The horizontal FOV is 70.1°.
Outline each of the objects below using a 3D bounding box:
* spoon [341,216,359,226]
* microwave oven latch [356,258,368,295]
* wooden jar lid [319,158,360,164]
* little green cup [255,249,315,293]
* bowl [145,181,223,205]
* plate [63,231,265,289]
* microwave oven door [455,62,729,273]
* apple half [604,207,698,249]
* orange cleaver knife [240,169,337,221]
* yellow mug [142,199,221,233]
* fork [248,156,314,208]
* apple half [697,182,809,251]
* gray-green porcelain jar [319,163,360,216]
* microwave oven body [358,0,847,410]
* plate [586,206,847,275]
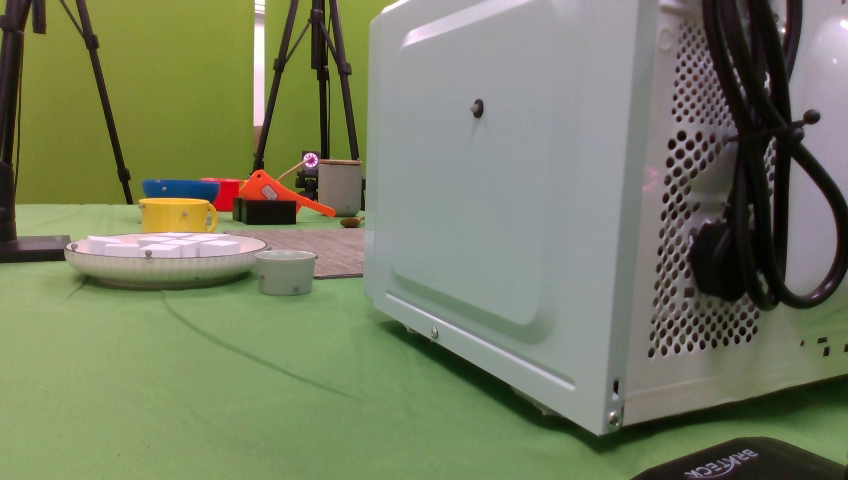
[{"bbox_3d":[-0.132,-0.048,1.305,0.041,0.021,0.194,-15,3,14],"label":"spoon"},{"bbox_3d":[-0.019,0.031,0.529,0.079,0.029,0.030,-1,7,-27],"label":"microwave oven latch"},{"bbox_3d":[-0.203,-0.189,1.482,0.108,0.020,0.108,2,10,0],"label":"wooden jar lid"},{"bbox_3d":[-0.144,0.032,0.627,0.061,0.038,0.061,2,6,0],"label":"little green cup"},{"bbox_3d":[-0.499,-0.081,1.261,0.151,0.077,0.151,2,8,0],"label":"bowl"},{"bbox_3d":[-0.288,0.021,0.687,0.208,0.039,0.207,2,8,0],"label":"plate"},{"bbox_3d":[0.198,-0.099,0.798,0.354,0.243,0.039,7,10,37],"label":"microwave oven door"},{"bbox_3d":[0.207,-0.013,0.543,0.081,0.033,0.081,3,10,0],"label":"apple half"},{"bbox_3d":[-0.287,-0.082,1.299,0.212,0.077,0.012,25,-2,-31],"label":"orange cleaver knife"},{"bbox_3d":[-0.372,-0.030,0.947,0.099,0.064,0.131,5,7,30],"label":"yellow mug"},{"bbox_3d":[-0.360,-0.147,1.523,0.207,0.019,0.028,-43,19,-6],"label":"fork"},{"bbox_3d":[0.280,-0.021,0.512,0.075,0.053,0.080,12,-8,-17],"label":"apple half"},{"bbox_3d":[-0.205,-0.126,1.490,0.106,0.126,0.106,1,8,0],"label":"gray-green porcelain jar"},{"bbox_3d":[0.210,-0.051,0.472,0.444,0.260,0.324,-1,7,-28],"label":"microwave oven body"},{"bbox_3d":[0.245,-0.002,0.516,0.209,0.038,0.209,2,8,0],"label":"plate"}]
